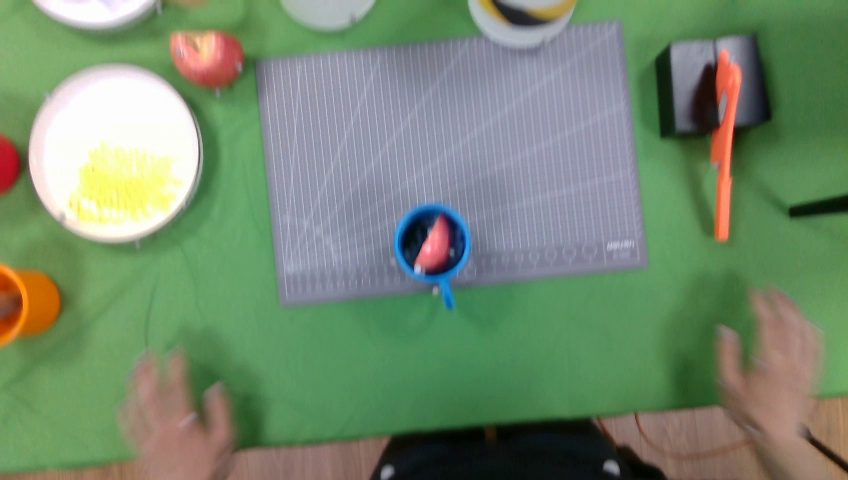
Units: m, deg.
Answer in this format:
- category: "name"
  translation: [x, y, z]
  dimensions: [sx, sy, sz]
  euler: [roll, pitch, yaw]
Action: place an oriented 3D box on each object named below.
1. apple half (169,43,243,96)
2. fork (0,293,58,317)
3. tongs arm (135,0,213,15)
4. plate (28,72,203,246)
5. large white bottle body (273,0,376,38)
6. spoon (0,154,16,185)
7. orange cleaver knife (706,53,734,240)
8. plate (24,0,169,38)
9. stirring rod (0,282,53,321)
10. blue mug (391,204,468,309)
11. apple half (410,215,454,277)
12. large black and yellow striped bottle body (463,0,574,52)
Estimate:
- category: "apple half"
  translation: [-0.257, -0.199, 0.721]
  dimensions: [0.081, 0.074, 0.053]
  euler: [-2, 91, -3]
- category: "fork"
  translation: [-0.528, 0.064, 0.676]
  dimensions: [0.209, 0.018, 0.028]
  euler: [15, 83, -42]
- category: "tongs arm"
  translation: [-0.435, -0.337, 0.715]
  dimensions: [0.384, 0.026, 0.050]
  euler: [22, 85, 4]
- category: "plate"
  translation: [-0.368, -0.096, 0.736]
  dimensions: [0.209, 0.038, 0.209]
  euler: [0, 88, 1]
- category: "large white bottle body"
  translation: [-0.124, -0.319, 0.668]
  dimensions: [0.130, 0.185, 0.130]
  euler: [0, 86, 1]
- category: "spoon"
  translation: [-0.581, -0.090, 0.687]
  dimensions: [0.195, 0.021, 0.041]
  euler: [4, 85, -42]
- category: "orange cleaver knife"
  translation: [0.340, -0.105, 0.703]
  dimensions: [0.012, 0.076, 0.213]
  euler: [-5, 114, 10]
- category: "plate"
  translation: [-0.397, -0.348, 0.747]
  dimensions: [0.208, 0.039, 0.207]
  euler: [0, 88, 1]
- category: "stirring rod"
  translation: [-0.503, 0.099, 0.681]
  dimensions: [0.014, 0.006, 0.176]
  euler: [45, 47, 1]
- category: "blue mug"
  translation: [0.013, 0.022, 0.689]
  dimensions: [0.082, 0.106, 0.116]
  euler: [-17, 87, 1]
- category: "apple half"
  translation: [0.017, 0.012, 0.683]
  dimensions: [0.032, 0.081, 0.081]
  euler: [29, 88, 10]
- category: "large black and yellow striped bottle body"
  translation: [0.110, -0.301, 0.662]
  dimensions: [0.131, 0.184, 0.130]
  euler: [0, 85, 2]
